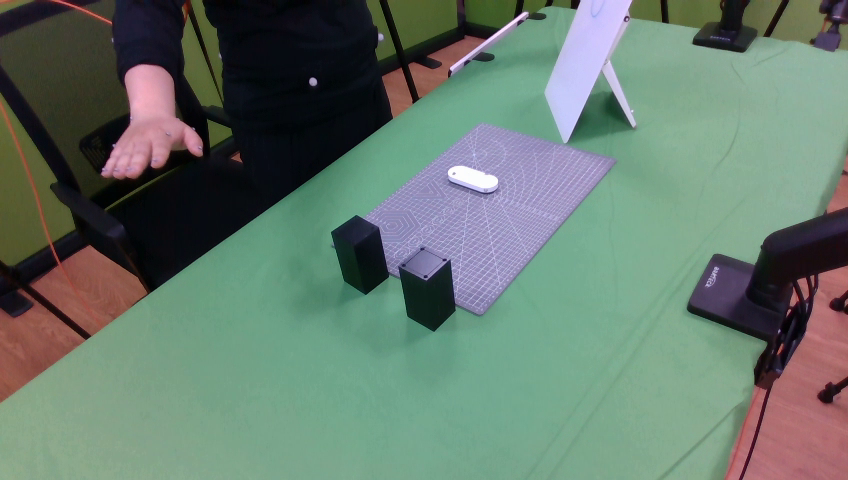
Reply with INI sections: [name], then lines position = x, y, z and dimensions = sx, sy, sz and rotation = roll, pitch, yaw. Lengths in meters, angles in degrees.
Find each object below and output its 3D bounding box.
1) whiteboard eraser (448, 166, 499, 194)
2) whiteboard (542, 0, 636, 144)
[whiteboard eraser]
position = 0.088, -0.108, 1.082
dimensions = 0.100, 0.019, 0.041
rotation = 22, 49, 31
[whiteboard]
position = 0.366, -0.351, 1.160
dimensions = 0.144, 0.305, 0.216
rotation = 10, 39, -10
